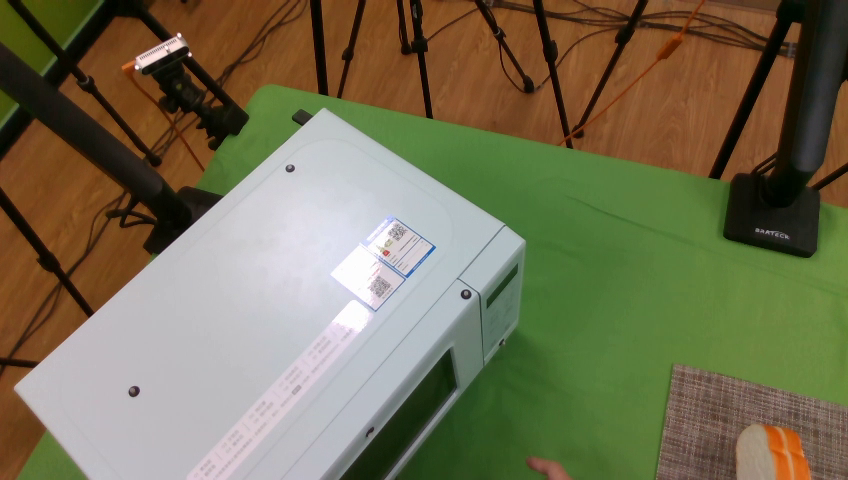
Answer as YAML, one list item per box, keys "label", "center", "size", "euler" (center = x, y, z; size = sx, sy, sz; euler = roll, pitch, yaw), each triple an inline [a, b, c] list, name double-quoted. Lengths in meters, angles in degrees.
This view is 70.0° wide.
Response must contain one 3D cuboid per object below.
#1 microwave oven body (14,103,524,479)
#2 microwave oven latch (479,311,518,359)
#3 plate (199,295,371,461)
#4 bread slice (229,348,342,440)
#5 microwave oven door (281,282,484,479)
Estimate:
- label: "microwave oven body"
  center: [-0.145, 0.117, 0.711]
  size: [0.323, 0.262, 0.441]
  euler: [35, 71, 21]
- label: "microwave oven latch"
  center: [0.092, 0.118, 0.796]
  size: [0.030, 0.030, 0.079]
  euler: [37, 72, 22]
- label: "plate"
  center: [-0.167, 0.169, 0.749]
  size: [0.208, 0.039, 0.206]
  euler: [-1, 60, 1]
- label: "bread slice"
  center: [-0.169, 0.195, 0.743]
  size: [0.134, 0.018, 0.106]
  euler: [-8, 60, -10]
- label: "microwave oven door"
  center: [-0.061, 0.222, 0.640]
  size: [0.039, 0.246, 0.355]
  euler: [35, 70, 23]
